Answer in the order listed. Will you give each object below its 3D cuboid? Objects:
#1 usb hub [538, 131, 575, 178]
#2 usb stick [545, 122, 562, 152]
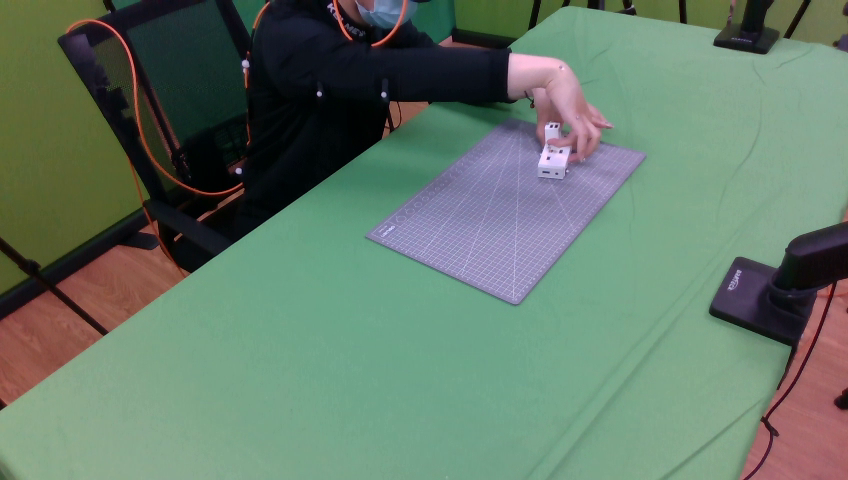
[{"bbox_3d":[0.245,-0.159,1.112,0.049,0.025,0.125,9,44,18],"label":"usb hub"},{"bbox_3d":[0.233,-0.181,1.084,0.027,0.059,0.021,4,43,18],"label":"usb stick"}]
